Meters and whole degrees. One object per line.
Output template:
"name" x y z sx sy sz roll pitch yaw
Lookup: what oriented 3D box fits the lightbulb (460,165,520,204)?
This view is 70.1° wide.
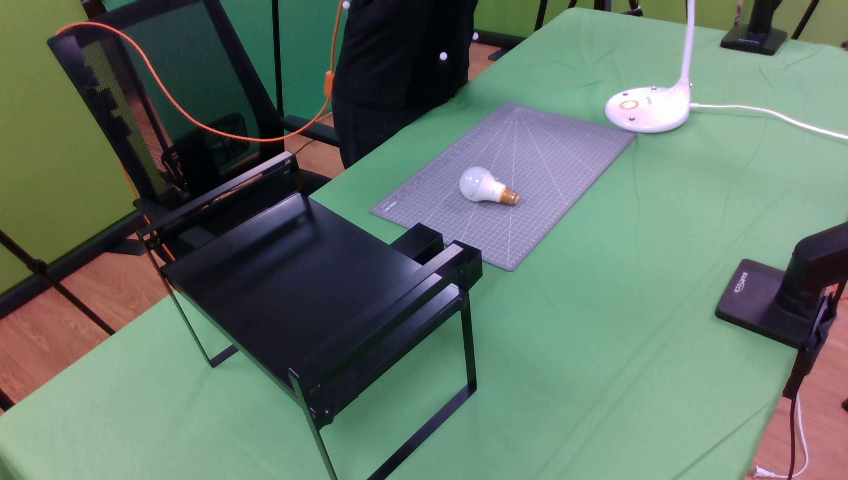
"lightbulb" 0.113 -0.089 1.037 0.107 0.059 0.059 22 47 10

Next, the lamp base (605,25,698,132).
"lamp base" 0.449 -0.321 1.161 0.179 0.181 0.159 -7 41 -2
